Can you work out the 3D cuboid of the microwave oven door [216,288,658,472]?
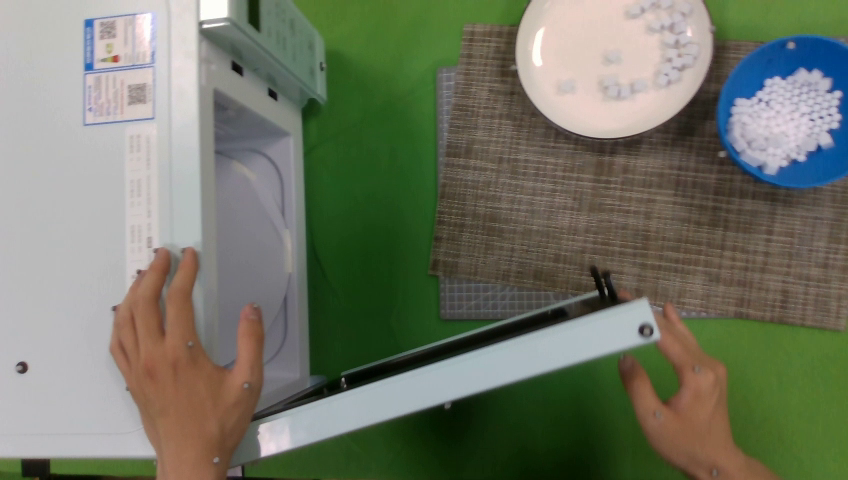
[{"bbox_3d":[0.021,0.119,0.571,0.355,0.244,0.039,-20,83,8],"label":"microwave oven door"}]

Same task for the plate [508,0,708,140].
[{"bbox_3d":[0.199,-0.210,0.671,0.209,0.038,0.208,-1,86,10],"label":"plate"}]

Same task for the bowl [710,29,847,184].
[{"bbox_3d":[0.363,-0.127,0.618,0.151,0.077,0.151,-1,87,10],"label":"bowl"}]

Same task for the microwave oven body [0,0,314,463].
[{"bbox_3d":[-0.292,-0.025,0.635,0.325,0.261,0.441,-4,87,9],"label":"microwave oven body"}]

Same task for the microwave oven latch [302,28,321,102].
[{"bbox_3d":[-0.139,-0.206,0.714,0.030,0.029,0.079,-4,88,9],"label":"microwave oven latch"}]
